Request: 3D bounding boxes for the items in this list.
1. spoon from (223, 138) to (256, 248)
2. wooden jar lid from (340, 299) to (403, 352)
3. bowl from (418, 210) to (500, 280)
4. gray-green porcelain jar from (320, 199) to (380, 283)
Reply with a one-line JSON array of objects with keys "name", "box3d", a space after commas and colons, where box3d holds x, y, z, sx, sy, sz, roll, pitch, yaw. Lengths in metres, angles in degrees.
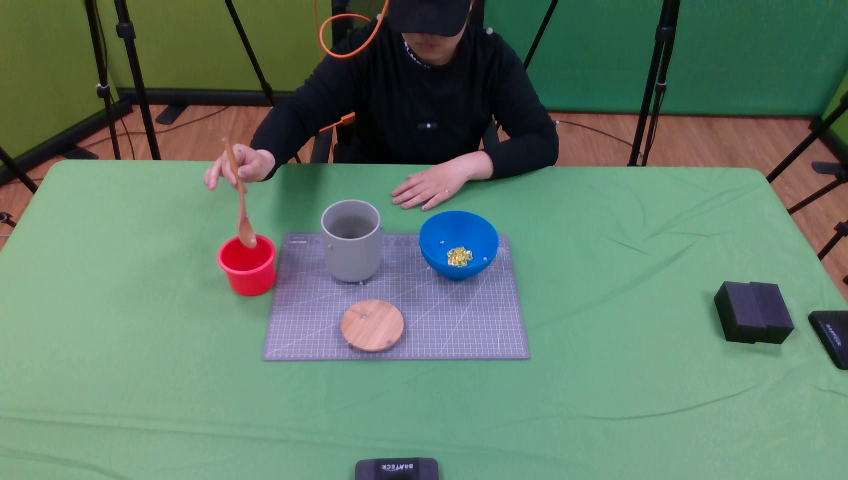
[{"name": "spoon", "box3d": [-0.314, -0.078, 1.031, 0.021, 0.194, 0.041, 3, 21, 17]}, {"name": "wooden jar lid", "box3d": [-0.090, 0.150, 1.046, 0.108, 0.021, 0.107, 3, 47, -3]}, {"name": "bowl", "box3d": [0.062, 0.022, 1.140, 0.151, 0.077, 0.150, 2, 46, -2]}, {"name": "gray-green porcelain jar", "box3d": [-0.133, 0.007, 1.106, 0.106, 0.127, 0.105, 2, 46, -2]}]
